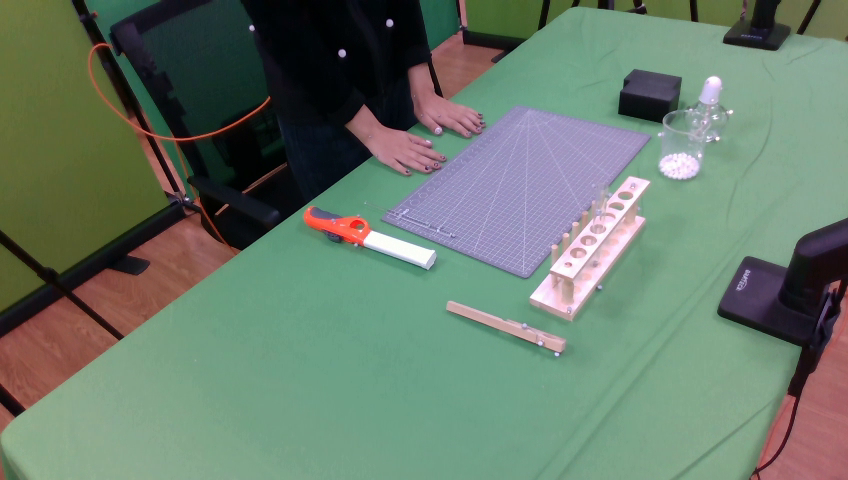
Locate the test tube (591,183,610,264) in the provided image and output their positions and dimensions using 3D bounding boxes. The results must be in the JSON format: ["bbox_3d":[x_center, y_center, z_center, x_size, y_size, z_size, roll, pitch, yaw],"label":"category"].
[{"bbox_3d":[0.242,-0.019,0.832,0.017,0.151,0.017,-5,46,6],"label":"test tube"}]

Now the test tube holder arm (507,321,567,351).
[{"bbox_3d":[0.148,0.128,0.808,0.087,0.015,0.010,16,11,28],"label":"test tube holder arm"}]

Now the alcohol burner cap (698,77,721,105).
[{"bbox_3d":[0.509,-0.266,1.072,0.034,0.048,0.033,-4,48,5],"label":"alcohol burner cap"}]

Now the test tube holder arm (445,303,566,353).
[{"bbox_3d":[0.107,0.117,0.824,0.177,0.015,0.013,16,11,27],"label":"test tube holder arm"}]

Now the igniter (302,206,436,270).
[{"bbox_3d":[-0.101,-0.007,1.004,0.274,0.025,0.057,19,58,29],"label":"igniter"}]

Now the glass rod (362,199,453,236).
[{"bbox_3d":[-0.032,-0.041,1.041,0.198,0.008,0.008,22,50,31],"label":"glass rod"}]

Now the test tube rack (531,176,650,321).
[{"bbox_3d":[0.246,0.002,0.884,0.066,0.085,0.243,22,49,32],"label":"test tube rack"}]

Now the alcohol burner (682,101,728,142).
[{"bbox_3d":[0.513,-0.239,1.097,0.078,0.119,0.077,-4,40,4],"label":"alcohol burner"}]

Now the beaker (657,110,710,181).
[{"bbox_3d":[0.438,-0.156,1.024,0.074,0.101,0.083,-14,41,-4],"label":"beaker"}]
